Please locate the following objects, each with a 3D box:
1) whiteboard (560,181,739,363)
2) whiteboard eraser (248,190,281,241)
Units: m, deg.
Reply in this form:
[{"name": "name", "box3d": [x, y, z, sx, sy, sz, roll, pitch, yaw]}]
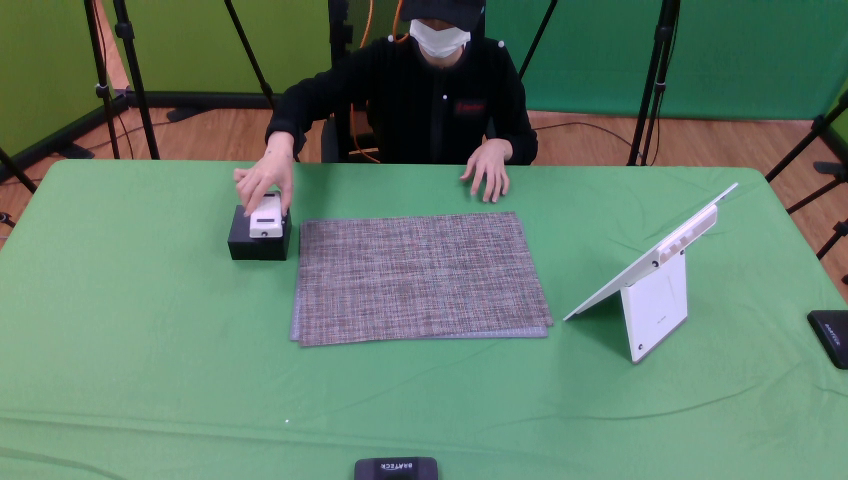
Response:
[{"name": "whiteboard", "box3d": [0.406, 0.076, 1.000, 0.217, 0.306, 0.143, -29, 74, -29]}, {"name": "whiteboard eraser", "box3d": [-0.293, -0.045, 1.106, 0.056, 0.042, 0.112, -5, 45, -12]}]
